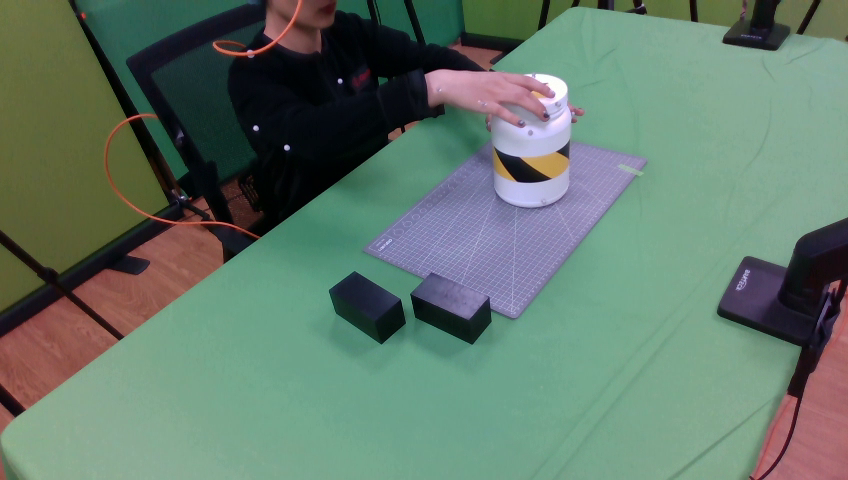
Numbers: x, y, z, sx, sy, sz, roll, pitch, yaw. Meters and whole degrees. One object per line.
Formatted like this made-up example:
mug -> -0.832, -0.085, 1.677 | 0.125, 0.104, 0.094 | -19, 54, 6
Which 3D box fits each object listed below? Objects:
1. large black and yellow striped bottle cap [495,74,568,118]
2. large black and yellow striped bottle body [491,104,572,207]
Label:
large black and yellow striped bottle cap -> 0.169, -0.229, 0.954 | 0.115, 0.019, 0.114 | -5, 41, 5
large black and yellow striped bottle body -> 0.179, -0.162, 1.009 | 0.131, 0.185, 0.130 | -5, 40, 5
